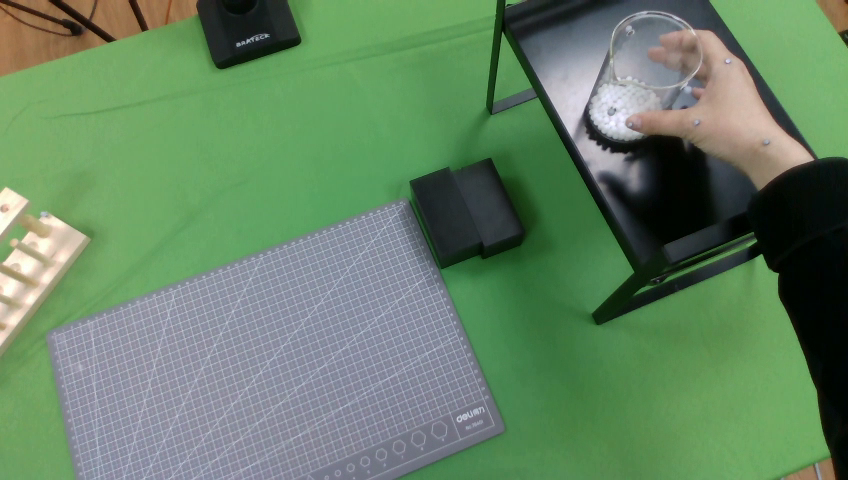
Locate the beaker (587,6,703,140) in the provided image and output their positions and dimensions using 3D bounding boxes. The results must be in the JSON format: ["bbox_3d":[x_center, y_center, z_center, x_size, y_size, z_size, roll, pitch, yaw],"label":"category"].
[{"bbox_3d":[0.185,-0.138,0.530,0.084,0.101,0.073,-35,74,-9],"label":"beaker"}]

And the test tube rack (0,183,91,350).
[{"bbox_3d":[-0.496,0.063,0.675,0.066,0.086,0.241,29,75,11],"label":"test tube rack"}]

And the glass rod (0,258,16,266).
[{"bbox_3d":[-0.492,0.007,0.623,0.008,0.200,0.008,0,78,3],"label":"glass rod"}]
